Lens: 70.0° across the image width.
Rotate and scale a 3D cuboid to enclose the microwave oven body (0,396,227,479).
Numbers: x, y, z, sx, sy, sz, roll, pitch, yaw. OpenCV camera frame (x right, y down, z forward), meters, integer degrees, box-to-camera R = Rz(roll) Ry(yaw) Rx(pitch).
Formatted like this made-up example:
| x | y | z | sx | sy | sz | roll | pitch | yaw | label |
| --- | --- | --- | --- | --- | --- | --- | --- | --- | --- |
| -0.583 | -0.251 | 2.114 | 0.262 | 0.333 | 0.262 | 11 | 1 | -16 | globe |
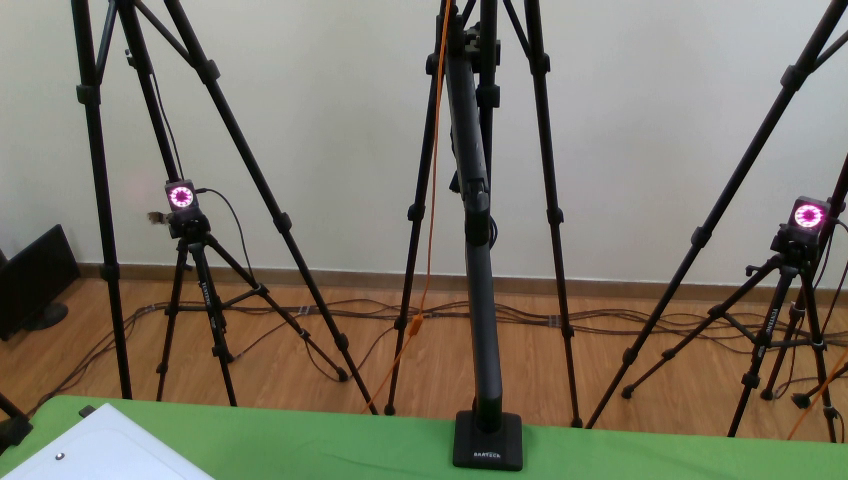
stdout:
| x | y | z | sx | sy | sz | roll | pitch | yaw | label |
| --- | --- | --- | --- | --- | --- | --- | --- | --- | --- |
| -0.448 | 0.462 | 0.711 | 0.323 | 0.262 | 0.441 | 20 | 41 | 28 | microwave oven body |
